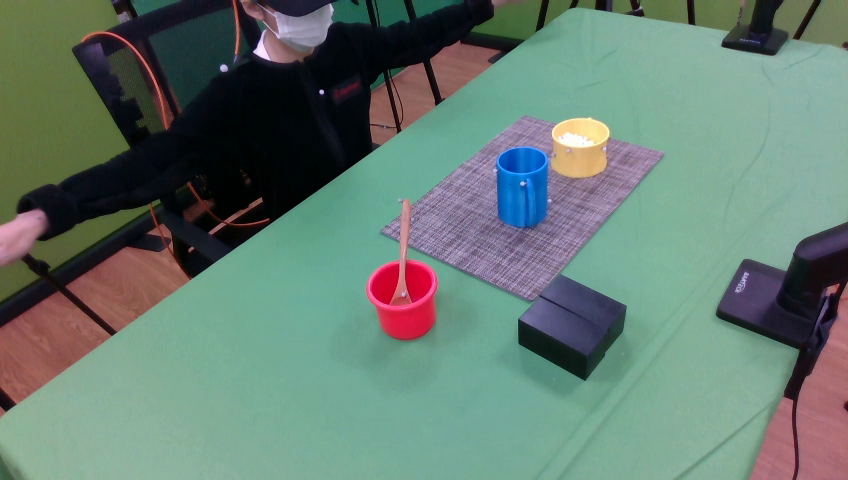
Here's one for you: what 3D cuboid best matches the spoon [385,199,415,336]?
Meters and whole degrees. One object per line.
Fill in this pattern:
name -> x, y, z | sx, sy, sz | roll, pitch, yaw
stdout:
spoon -> -0.029, 0.037, 0.843 | 0.041, 0.022, 0.193 | 2, 85, 10

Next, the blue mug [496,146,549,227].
blue mug -> 0.162, -0.076, 0.969 | 0.082, 0.106, 0.116 | -9, 40, -1

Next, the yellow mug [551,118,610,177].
yellow mug -> 0.287, -0.176, 1.098 | 0.099, 0.064, 0.131 | 12, 43, 22
